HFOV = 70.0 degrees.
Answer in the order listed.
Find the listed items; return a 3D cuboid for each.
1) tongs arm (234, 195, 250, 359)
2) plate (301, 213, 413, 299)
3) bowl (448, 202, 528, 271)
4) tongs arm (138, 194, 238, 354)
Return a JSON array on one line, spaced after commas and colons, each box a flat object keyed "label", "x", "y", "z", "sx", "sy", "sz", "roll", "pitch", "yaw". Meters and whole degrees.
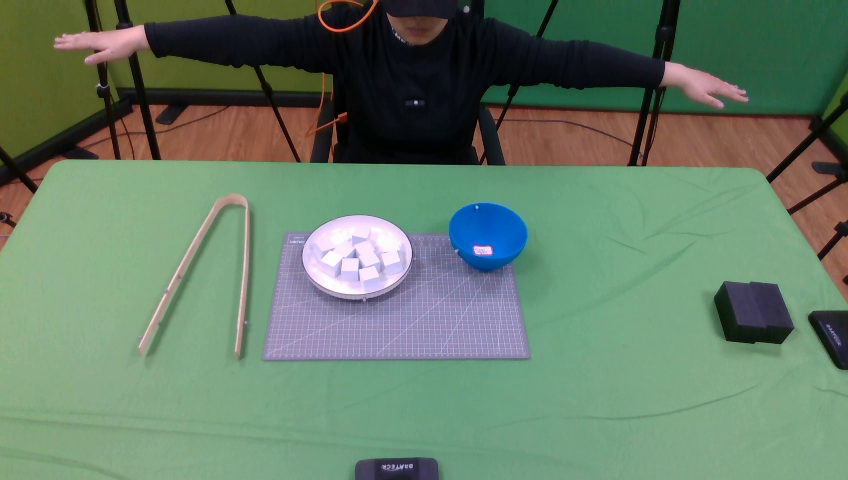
[{"label": "tongs arm", "x": -0.339, "y": 0.052, "z": 1.118, "sx": 0.028, "sy": 0.028, "sz": 0.385, "roll": -7, "pitch": 47, "yaw": -7}, {"label": "plate", "x": -0.124, "y": 0.033, "z": 1.143, "sx": 0.208, "sy": 0.039, "sz": 0.206, "roll": 2, "pitch": 46, "yaw": -2}, {"label": "bowl", "x": 0.118, "y": 0.006, "z": 1.160, "sx": 0.151, "sy": 0.077, "sz": 0.150, "roll": 2, "pitch": 46, "yaw": -2}, {"label": "tongs arm", "x": -0.421, "y": 0.047, "z": 1.111, "sx": 0.051, "sy": 0.026, "sz": 0.382, "roll": 6, "pitch": 45, "yaw": 0}]
